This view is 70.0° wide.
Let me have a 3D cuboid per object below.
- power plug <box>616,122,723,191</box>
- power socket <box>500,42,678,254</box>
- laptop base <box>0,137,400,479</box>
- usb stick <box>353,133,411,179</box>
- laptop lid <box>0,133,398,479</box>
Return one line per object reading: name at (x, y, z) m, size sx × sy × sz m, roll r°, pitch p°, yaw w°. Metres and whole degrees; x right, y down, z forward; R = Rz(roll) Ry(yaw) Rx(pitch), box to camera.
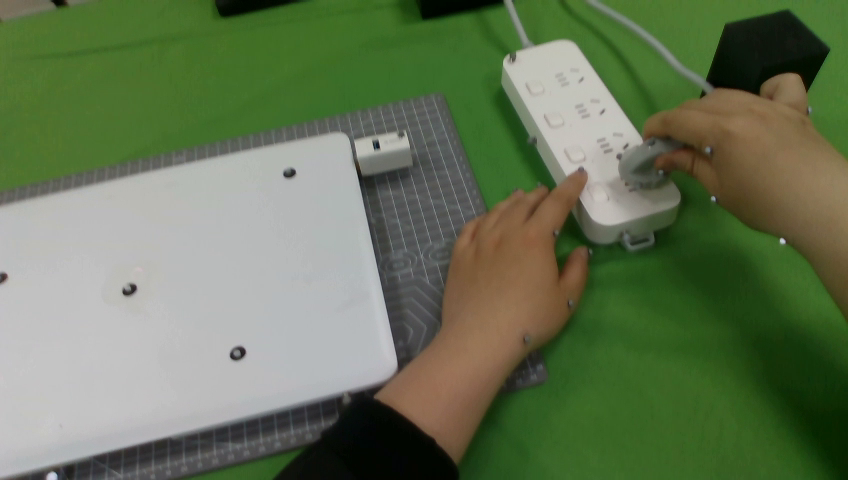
power plug at (0.175, -0.054, 0.435) m, size 0.072 × 0.053 × 0.035 m, roll -4°, pitch 59°, yaw 1°
power socket at (0.128, -0.087, 0.501) m, size 0.072 × 0.033 × 0.224 m, roll -15°, pitch 55°, yaw -6°
laptop base at (-0.210, 0.047, 0.453) m, size 0.354 × 0.023 × 0.233 m, roll -14°, pitch 58°, yaw -4°
usb stick at (-0.042, -0.068, 0.501) m, size 0.059 × 0.027 × 0.021 m, roll -14°, pitch 54°, yaw 0°
laptop lid at (-0.211, 0.042, 0.442) m, size 0.357 × 0.013 × 0.239 m, roll -13°, pitch 57°, yaw -2°
